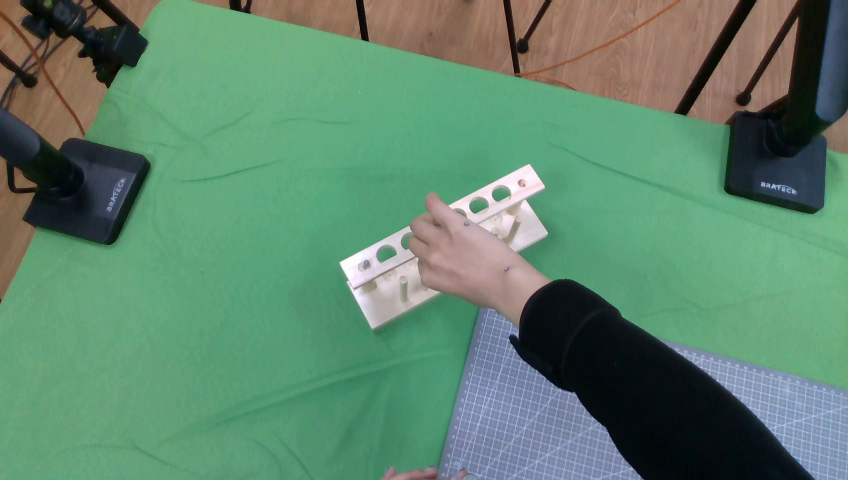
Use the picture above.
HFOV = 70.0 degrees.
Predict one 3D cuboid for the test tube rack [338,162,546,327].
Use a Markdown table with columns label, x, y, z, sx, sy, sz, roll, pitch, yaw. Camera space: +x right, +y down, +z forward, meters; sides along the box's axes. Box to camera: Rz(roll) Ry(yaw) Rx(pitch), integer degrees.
| label | x | y | z | sx | sy | sz | roll | pitch | yaw |
| --- | --- | --- | --- | --- | --- | --- | --- | --- | --- |
| test tube rack | 0.028 | 0.007 | 0.695 | 0.242 | 0.085 | 0.066 | -28 | 74 | -10 |

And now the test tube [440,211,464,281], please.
| label | x | y | z | sx | sy | sz | roll | pitch | yaw |
| --- | --- | --- | --- | --- | --- | --- | --- | --- | --- |
| test tube | 0.029 | 0.009 | 0.647 | 0.017 | 0.151 | 0.017 | 1 | 64 | -2 |

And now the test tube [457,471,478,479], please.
| label | x | y | z | sx | sy | sz | roll | pitch | yaw |
| --- | --- | --- | --- | --- | --- | --- | --- | --- | --- |
| test tube | 0.033 | 0.216 | 0.518 | 0.017 | 0.151 | 0.017 | 0 | 61 | 0 |
